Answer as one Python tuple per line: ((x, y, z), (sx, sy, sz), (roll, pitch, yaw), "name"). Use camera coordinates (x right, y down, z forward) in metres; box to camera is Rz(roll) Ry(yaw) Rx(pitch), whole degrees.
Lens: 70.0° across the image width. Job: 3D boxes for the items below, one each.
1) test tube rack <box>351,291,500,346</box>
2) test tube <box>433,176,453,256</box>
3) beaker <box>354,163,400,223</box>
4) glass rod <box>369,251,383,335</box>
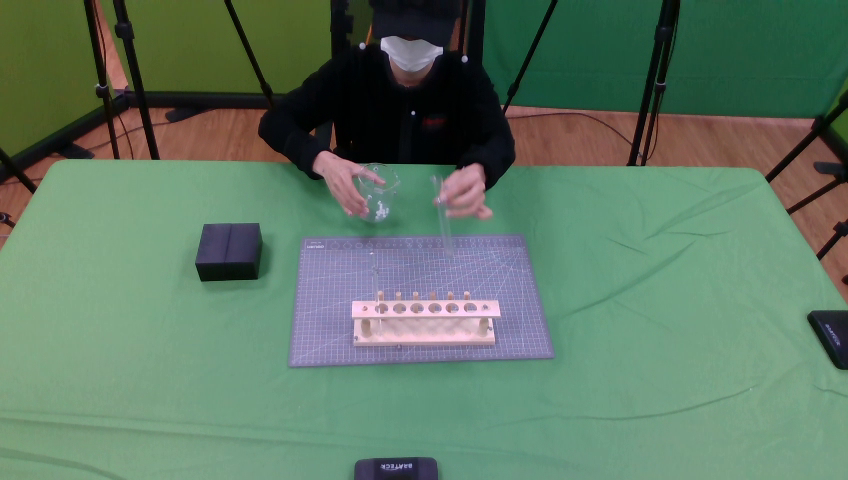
((0.000, 0.129, 1.026), (0.242, 0.085, 0.066), (0, 46, -4), "test tube rack")
((0.032, -0.035, 0.977), (0.017, 0.151, 0.017), (-7, 35, 5), "test tube")
((-0.095, -0.088, 1.174), (0.084, 0.100, 0.073), (7, 51, -8), "beaker")
((-0.075, 0.090, 0.965), (0.008, 0.201, 0.008), (-1, 44, 1), "glass rod")
